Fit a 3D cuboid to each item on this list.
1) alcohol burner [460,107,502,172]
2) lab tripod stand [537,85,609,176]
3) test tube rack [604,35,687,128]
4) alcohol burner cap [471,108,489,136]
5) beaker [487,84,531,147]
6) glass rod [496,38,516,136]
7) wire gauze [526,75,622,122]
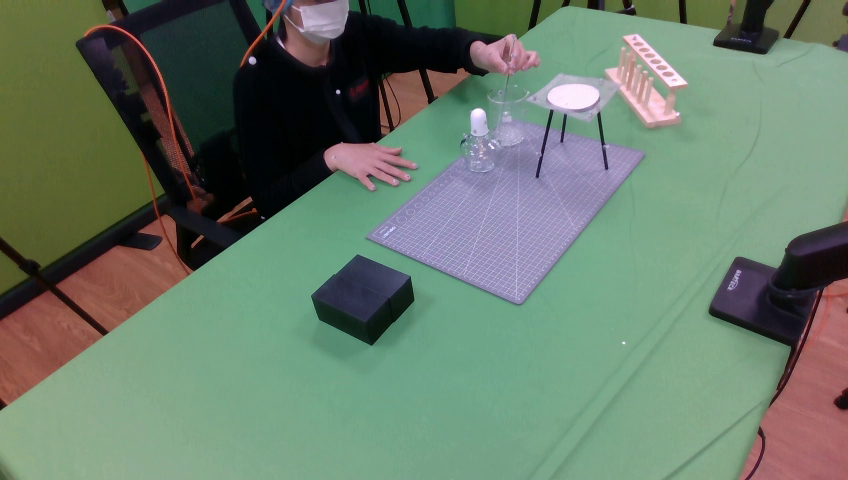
[{"bbox_3d":[0.102,-0.185,1.098,0.078,0.119,0.077,-6,40,5],"label":"alcohol burner"},{"bbox_3d":[0.259,-0.192,1.068,0.148,0.132,0.147,-4,42,4],"label":"lab tripod stand"},{"bbox_3d":[0.447,-0.330,1.241,0.067,0.085,0.241,-9,41,-2],"label":"test tube rack"},{"bbox_3d":[0.098,-0.211,1.074,0.034,0.048,0.033,-6,42,6],"label":"alcohol burner cap"},{"bbox_3d":[0.163,-0.237,1.161,0.084,0.101,0.073,-10,41,-3],"label":"beaker"},{"bbox_3d":[0.152,-0.281,1.132,0.008,0.200,0.008,3,42,-2],"label":"glass rod"},{"bbox_3d":[0.255,-0.248,1.030,0.124,0.011,0.122,24,51,32],"label":"wire gauze"}]
